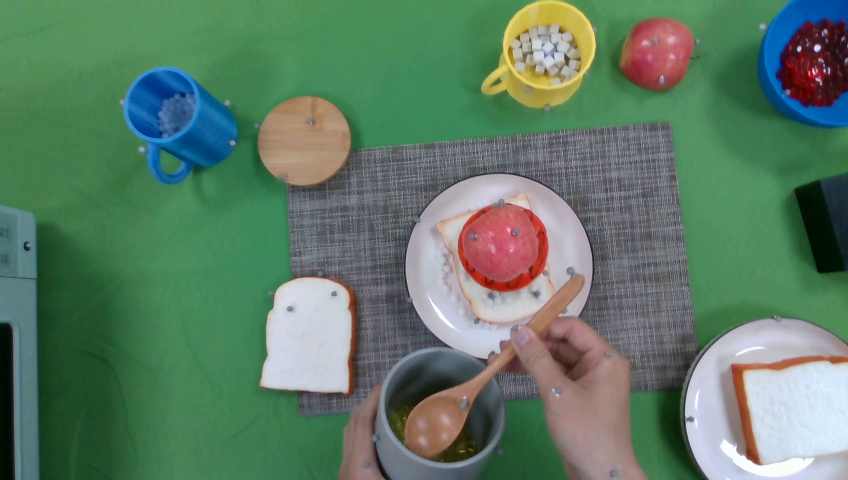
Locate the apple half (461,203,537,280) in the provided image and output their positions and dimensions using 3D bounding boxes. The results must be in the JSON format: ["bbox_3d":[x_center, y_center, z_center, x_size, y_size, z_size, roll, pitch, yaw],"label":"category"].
[{"bbox_3d":[0.077,0.001,0.612,0.081,0.033,0.081,-1,83,10],"label":"apple half"}]

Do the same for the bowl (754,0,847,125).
[{"bbox_3d":[0.425,-0.190,0.660,0.151,0.077,0.151,0,85,3],"label":"bowl"}]

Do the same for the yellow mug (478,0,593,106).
[{"bbox_3d":[0.120,-0.202,0.682,0.131,0.064,0.099,-29,84,1],"label":"yellow mug"}]

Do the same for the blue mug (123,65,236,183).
[{"bbox_3d":[-0.273,-0.120,0.674,0.082,0.106,0.116,16,86,4],"label":"blue mug"}]

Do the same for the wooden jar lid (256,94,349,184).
[{"bbox_3d":[-0.140,-0.116,0.707,0.108,0.021,0.108,-1,82,4],"label":"wooden jar lid"}]

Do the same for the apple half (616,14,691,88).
[{"bbox_3d":[0.262,-0.219,0.684,0.074,0.053,0.080,18,86,7],"label":"apple half"}]

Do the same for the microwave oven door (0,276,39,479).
[{"bbox_3d":[-0.457,0.207,0.567,0.039,0.244,0.355,-5,84,3],"label":"microwave oven door"}]

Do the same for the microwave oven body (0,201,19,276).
[{"bbox_3d":[-0.605,0.176,0.582,0.326,0.261,0.440,-5,85,2],"label":"microwave oven body"}]

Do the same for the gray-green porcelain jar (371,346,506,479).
[{"bbox_3d":[0.008,0.171,0.541,0.106,0.127,0.105,5,51,-6],"label":"gray-green porcelain jar"}]

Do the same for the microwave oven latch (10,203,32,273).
[{"bbox_3d":[-0.466,-0.001,0.687,0.030,0.029,0.079,-1,85,2],"label":"microwave oven latch"}]

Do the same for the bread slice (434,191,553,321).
[{"bbox_3d":[0.085,0.022,0.676,0.107,0.018,0.134,-22,83,1],"label":"bread slice"}]

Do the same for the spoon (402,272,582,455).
[{"bbox_3d":[0.054,0.097,0.472,0.041,0.021,0.194,44,103,5],"label":"spoon"}]

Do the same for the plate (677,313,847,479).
[{"bbox_3d":[0.374,0.182,0.649,0.209,0.038,0.208,0,85,3],"label":"plate"}]

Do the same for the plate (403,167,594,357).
[{"bbox_3d":[0.080,0.024,0.674,0.207,0.039,0.207,0,85,3],"label":"plate"}]

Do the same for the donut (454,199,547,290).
[{"bbox_3d":[0.082,0.005,0.647,0.099,0.048,0.099,0,85,3],"label":"donut"}]

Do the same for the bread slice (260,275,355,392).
[{"bbox_3d":[-0.132,0.105,0.688,0.105,0.019,0.131,3,86,2],"label":"bread slice"}]
